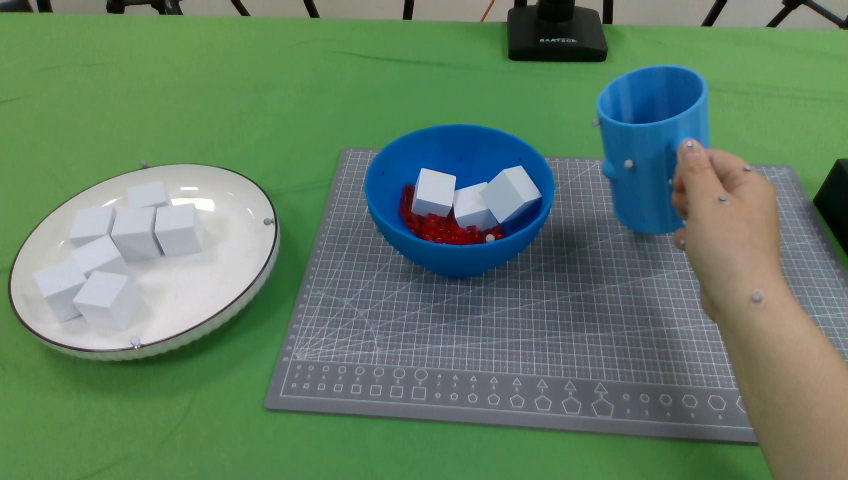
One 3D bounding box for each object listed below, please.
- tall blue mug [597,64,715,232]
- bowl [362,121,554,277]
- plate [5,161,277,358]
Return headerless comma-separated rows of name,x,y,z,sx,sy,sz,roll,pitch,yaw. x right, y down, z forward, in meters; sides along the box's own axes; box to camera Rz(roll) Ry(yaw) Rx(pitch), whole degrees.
tall blue mug,0.191,-0.064,0.466,0.078,0.109,0.106,-40,43,-18
bowl,0.027,-0.023,0.501,0.151,0.077,0.150,0,46,1
plate,-0.225,0.013,0.502,0.209,0.038,0.207,0,46,0
